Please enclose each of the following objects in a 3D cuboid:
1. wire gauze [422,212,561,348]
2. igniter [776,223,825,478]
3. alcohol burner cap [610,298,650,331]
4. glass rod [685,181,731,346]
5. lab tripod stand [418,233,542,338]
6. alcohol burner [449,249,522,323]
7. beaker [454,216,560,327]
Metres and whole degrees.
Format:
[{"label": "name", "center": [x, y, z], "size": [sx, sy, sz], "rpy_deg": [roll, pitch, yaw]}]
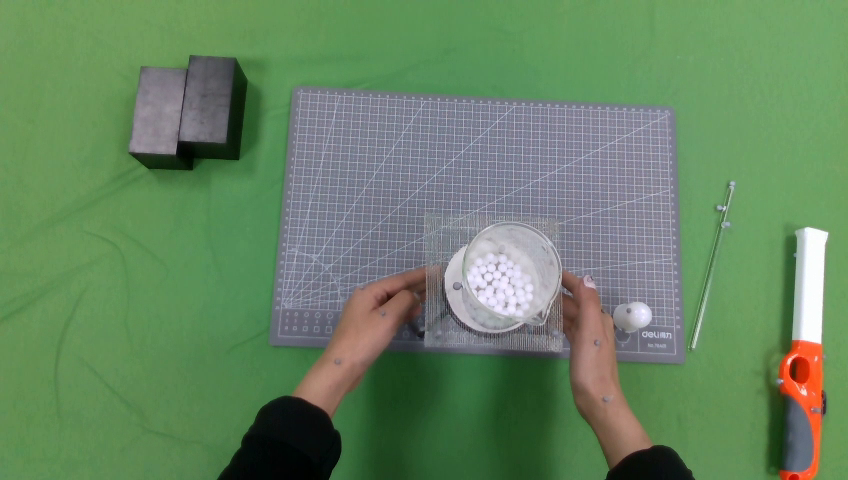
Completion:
[{"label": "wire gauze", "center": [0.059, 0.034, 0.538], "size": [0.125, 0.011, 0.121], "rpy_deg": [2, 76, 0]}, {"label": "igniter", "center": [0.411, 0.117, 0.658], "size": [0.057, 0.025, 0.275], "rpy_deg": [13, 78, -11]}, {"label": "alcohol burner cap", "center": [0.223, 0.078, 0.649], "size": [0.034, 0.048, 0.033], "rpy_deg": [1, 74, -2]}, {"label": "glass rod", "center": [0.321, 0.024, 0.684], "size": [0.008, 0.008, 0.199], "rpy_deg": [19, 78, 2]}, {"label": "lab tripod stand", "center": [0.058, 0.050, 0.601], "size": [0.148, 0.132, 0.147], "rpy_deg": [0, 77, -1]}, {"label": "alcohol burner", "center": [0.063, 0.043, 0.613], "size": [0.078, 0.119, 0.077], "rpy_deg": [1, 76, -2]}, {"label": "beaker", "center": [0.063, 0.034, 0.488], "size": [0.074, 0.100, 0.083], "rpy_deg": [-29, 79, -8]}]
